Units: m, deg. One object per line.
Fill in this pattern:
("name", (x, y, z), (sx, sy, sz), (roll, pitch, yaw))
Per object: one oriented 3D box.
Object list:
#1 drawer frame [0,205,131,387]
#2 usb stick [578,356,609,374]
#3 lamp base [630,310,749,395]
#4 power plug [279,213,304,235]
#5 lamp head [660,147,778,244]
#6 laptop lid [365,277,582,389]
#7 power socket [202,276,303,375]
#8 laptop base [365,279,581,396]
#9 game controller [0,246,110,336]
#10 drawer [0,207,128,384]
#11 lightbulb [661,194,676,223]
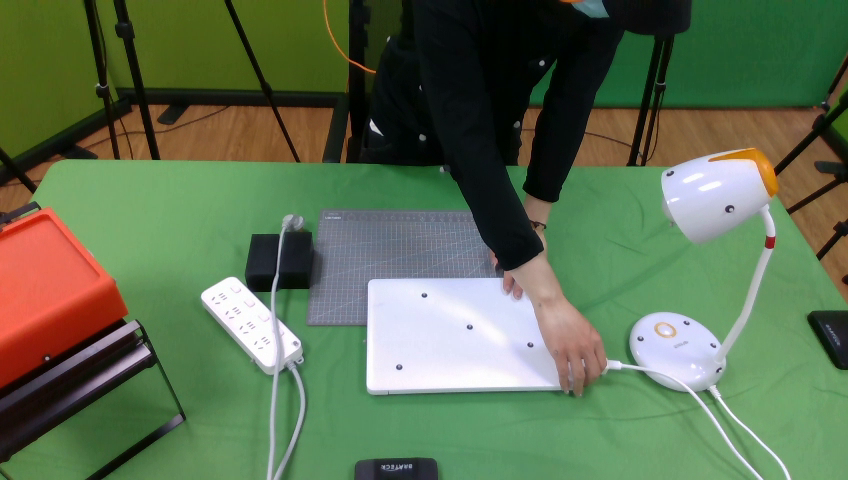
("drawer frame", (-0.539, 0.076, 0.795), (0.200, 0.083, 0.213), (36, 54, 26))
("usb stick", (0.274, 0.208, 1.008), (0.059, 0.027, 0.021), (0, 52, 0))
("lamp base", (0.447, 0.143, 0.984), (0.161, 0.181, 0.178), (-24, 55, -24))
("power plug", (-0.263, -0.022, 1.184), (0.035, 0.053, 0.072), (7, 49, 32))
("lamp head", (0.389, -0.062, 0.784), (0.123, 0.113, 0.112), (-22, 33, 37))
("laptop lid", (0.077, 0.153, 1.046), (0.357, 0.013, 0.240), (1, 45, -3))
("power socket", (-0.296, 0.142, 1.033), (0.072, 0.033, 0.225), (-34, 58, -31))
("laptop base", (0.077, 0.162, 1.053), (0.355, 0.023, 0.234), (0, 44, -4))
("game controller", (-0.511, 0.063, 0.830), (0.097, 0.052, 0.154), (-30, 58, -32))
("drawer", (-0.539, 0.074, 0.799), (0.193, 0.073, 0.211), (37, 55, 27))
("lightbulb", (0.369, -0.059, 0.807), (0.060, 0.107, 0.059), (18, 60, -35))
